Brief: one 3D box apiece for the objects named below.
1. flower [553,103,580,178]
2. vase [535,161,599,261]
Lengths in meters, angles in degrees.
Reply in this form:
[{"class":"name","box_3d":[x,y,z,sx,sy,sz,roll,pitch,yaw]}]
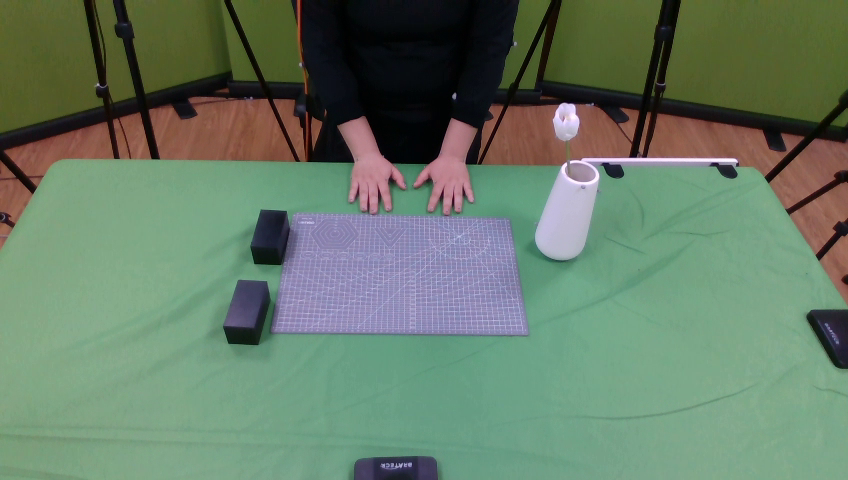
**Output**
[{"class":"flower","box_3d":[0.258,-0.102,1.079,0.038,0.364,0.043,-24,54,-1]},{"class":"vase","box_3d":[0.271,-0.051,1.145,0.098,0.201,0.097,1,46,-1]}]
